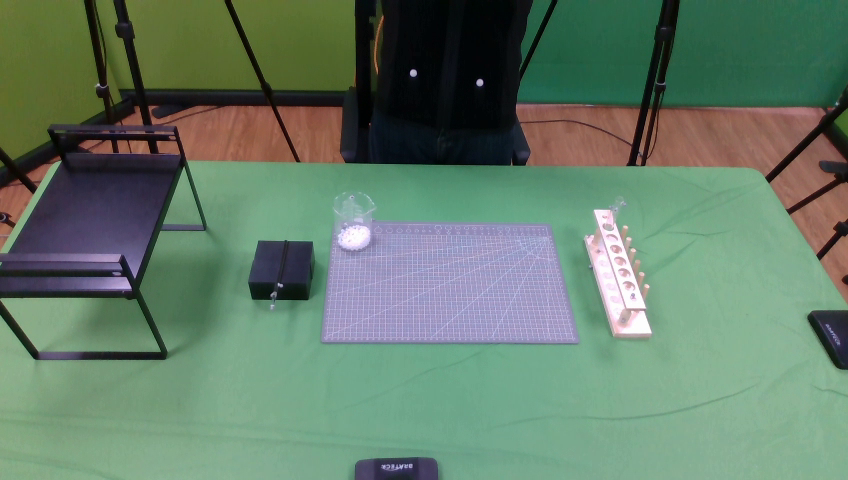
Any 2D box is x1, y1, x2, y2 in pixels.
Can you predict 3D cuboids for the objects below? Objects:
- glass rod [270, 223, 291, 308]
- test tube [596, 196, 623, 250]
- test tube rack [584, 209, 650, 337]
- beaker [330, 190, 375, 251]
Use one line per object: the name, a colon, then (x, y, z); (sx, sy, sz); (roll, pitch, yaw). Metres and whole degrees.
glass rod: (-0.255, 0.041, 1.081); (0.008, 0.008, 0.198); (2, 46, -2)
test tube: (0.348, -0.029, 1.140); (0.017, 0.151, 0.017); (0, 53, 0)
test tube rack: (0.365, 0.056, 1.129); (0.067, 0.085, 0.240); (1, 46, -4)
beaker: (-0.136, -0.034, 1.163); (0.084, 0.101, 0.073); (3, 46, -3)
